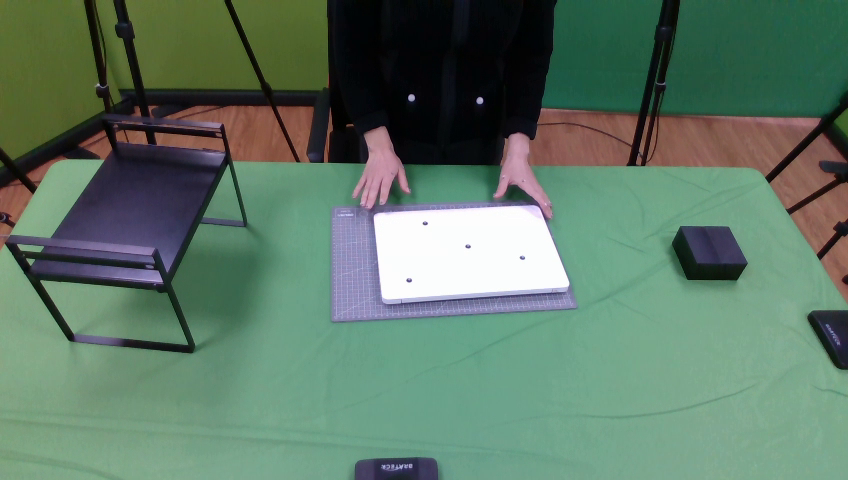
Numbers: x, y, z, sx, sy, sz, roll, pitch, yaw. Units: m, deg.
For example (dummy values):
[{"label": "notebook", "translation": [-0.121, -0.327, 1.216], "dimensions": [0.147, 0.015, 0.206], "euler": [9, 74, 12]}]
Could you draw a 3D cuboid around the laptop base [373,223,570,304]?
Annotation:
[{"label": "laptop base", "translation": [0.084, 0.025, 1.180], "dimensions": [0.355, 0.023, 0.234], "euler": [-3, 43, -7]}]

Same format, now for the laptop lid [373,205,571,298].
[{"label": "laptop lid", "translation": [0.084, 0.015, 1.173], "dimensions": [0.357, 0.013, 0.240], "euler": [-2, 44, -6]}]
